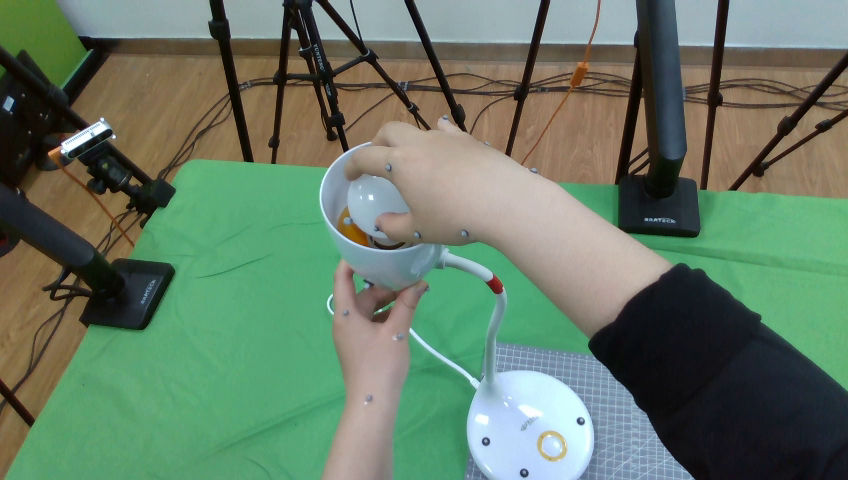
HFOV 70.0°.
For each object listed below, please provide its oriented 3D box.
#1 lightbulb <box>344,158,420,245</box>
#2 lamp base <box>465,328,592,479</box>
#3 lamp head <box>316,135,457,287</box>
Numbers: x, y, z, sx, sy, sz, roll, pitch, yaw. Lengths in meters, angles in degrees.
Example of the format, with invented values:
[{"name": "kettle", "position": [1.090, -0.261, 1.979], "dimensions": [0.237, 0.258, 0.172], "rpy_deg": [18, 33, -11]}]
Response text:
[{"name": "lightbulb", "position": [-0.033, -0.024, 0.496], "dimensions": [0.059, 0.108, 0.059], "rpy_deg": [1, 65, -1]}, {"name": "lamp base", "position": [0.113, 0.184, 0.720], "dimensions": [0.177, 0.182, 0.160], "rpy_deg": [28, 62, 29]}, {"name": "lamp head", "position": [-0.026, -0.011, 0.523], "dimensions": [0.112, 0.124, 0.111], "rpy_deg": [-2, 57, 4]}]
